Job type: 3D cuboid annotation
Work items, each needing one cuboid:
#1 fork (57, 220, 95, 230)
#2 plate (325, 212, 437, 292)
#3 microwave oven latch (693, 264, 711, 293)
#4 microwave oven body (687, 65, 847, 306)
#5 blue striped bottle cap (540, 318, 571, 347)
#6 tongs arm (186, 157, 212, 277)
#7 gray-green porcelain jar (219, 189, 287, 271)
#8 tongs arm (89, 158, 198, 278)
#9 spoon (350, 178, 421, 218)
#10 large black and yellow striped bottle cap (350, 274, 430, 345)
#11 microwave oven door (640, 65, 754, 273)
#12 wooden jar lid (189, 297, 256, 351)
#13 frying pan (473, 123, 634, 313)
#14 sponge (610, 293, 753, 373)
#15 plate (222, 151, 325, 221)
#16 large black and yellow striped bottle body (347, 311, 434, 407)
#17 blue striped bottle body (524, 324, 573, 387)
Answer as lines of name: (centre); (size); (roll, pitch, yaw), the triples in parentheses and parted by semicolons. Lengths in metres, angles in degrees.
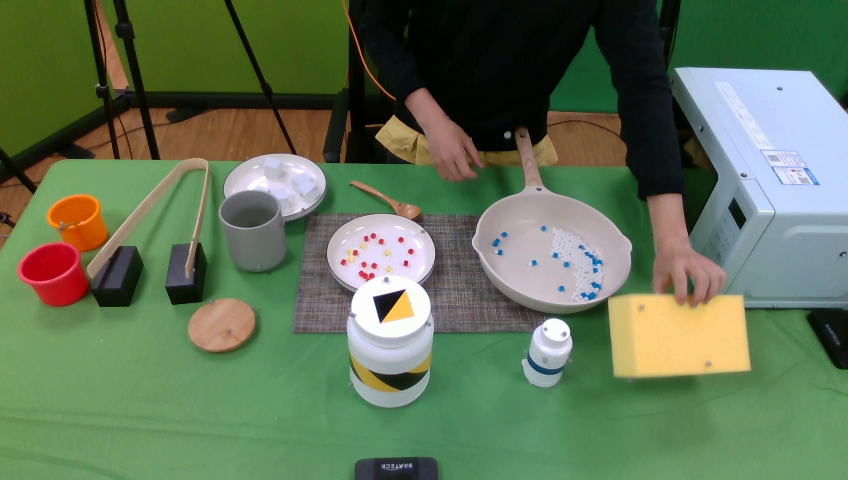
fork: (-0.624, -0.027, 1.086); (0.028, 0.207, 0.018); (-3, 92, -17)
plate: (-0.080, 0.030, 1.143); (0.209, 0.038, 0.208); (2, 46, -2)
microwave oven latch: (0.522, 0.082, 1.116); (0.030, 0.029, 0.078); (2, 46, -1)
microwave oven body: (0.669, -0.111, 1.176); (0.326, 0.261, 0.439); (0, 46, -3)
blue striped bottle cap: (0.203, 0.142, 0.933); (0.044, 0.021, 0.044); (3, 49, -3)
tongs arm: (-0.445, -0.058, 1.168); (0.051, 0.026, 0.382); (-5, 37, -6)
gray-green porcelain jar: (-0.310, -0.014, 1.113); (0.106, 0.127, 0.105); (2, 46, -2)
tongs arm: (-0.529, -0.057, 1.164); (0.028, 0.028, 0.385); (1, 36, 8)
spoon: (-0.084, -0.092, 1.273); (0.193, 0.022, 0.041); (31, 65, 26)
large black and yellow striped bottle cap: (-0.048, 0.097, 0.868); (0.115, 0.019, 0.114); (3, 48, -3)
microwave oven door: (0.523, -0.147, 1.193); (0.039, 0.245, 0.353); (0, 47, -3)
wooden jar lid: (-0.342, 0.145, 1.033); (0.108, 0.021, 0.107); (2, 45, -2)
frying pan: (0.235, -0.061, 1.208); (0.307, 0.103, 0.484); (1, 55, -6)
sponge: (0.393, 0.141, 0.928); (0.207, 0.061, 0.118); (1, 79, -17)
plate: (-0.310, -0.106, 1.262); (0.208, 0.039, 0.206); (2, 47, -2)
large black and yellow striped bottle body: (-0.052, 0.157, 0.929); (0.131, 0.185, 0.130); (2, 47, -2)
blue striped bottle body: (0.200, 0.178, 0.970); (0.063, 0.121, 0.062); (1, 46, -1)
